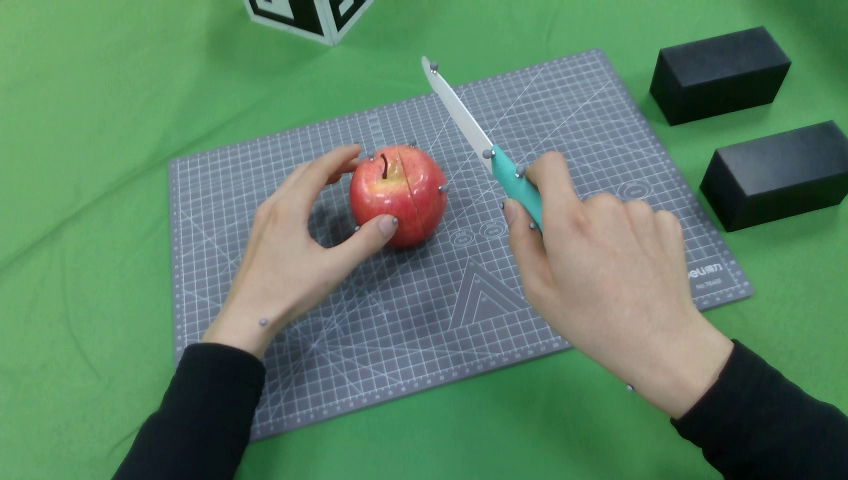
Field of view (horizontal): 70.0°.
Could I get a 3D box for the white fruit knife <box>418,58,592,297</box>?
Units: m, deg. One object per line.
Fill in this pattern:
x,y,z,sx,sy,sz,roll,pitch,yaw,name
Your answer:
0.048,-0.051,0.408,0.016,0.027,0.206,-25,68,-23,white fruit knife

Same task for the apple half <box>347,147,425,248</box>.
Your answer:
-0.035,-0.030,0.502,0.053,0.075,0.080,-19,60,0,apple half

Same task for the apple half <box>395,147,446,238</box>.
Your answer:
0.002,-0.042,0.504,0.033,0.082,0.080,-19,57,1,apple half
